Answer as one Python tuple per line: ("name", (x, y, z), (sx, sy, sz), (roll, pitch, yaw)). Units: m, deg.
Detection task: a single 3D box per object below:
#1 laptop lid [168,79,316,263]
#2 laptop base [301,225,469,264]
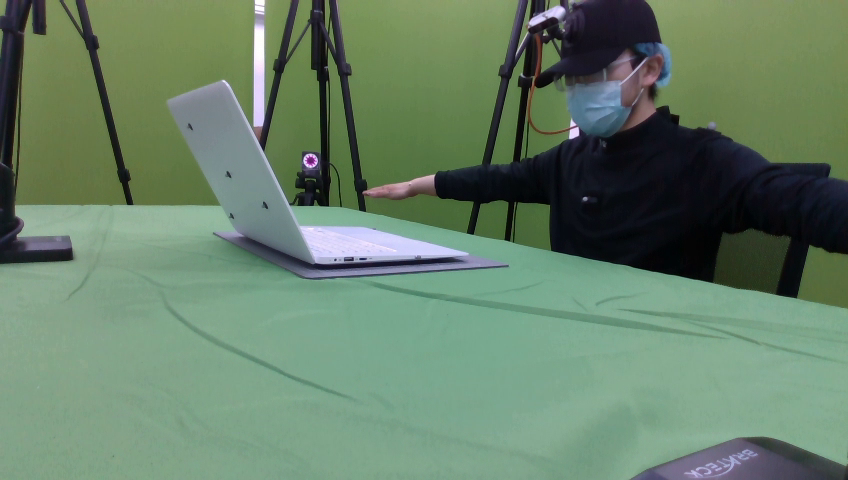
("laptop lid", (-0.264, -0.093, 0.831), (0.013, 0.242, 0.355), (-33, 25, -25))
("laptop base", (-0.124, 0.005, 0.936), (0.237, 0.023, 0.352), (2, 6, -33))
